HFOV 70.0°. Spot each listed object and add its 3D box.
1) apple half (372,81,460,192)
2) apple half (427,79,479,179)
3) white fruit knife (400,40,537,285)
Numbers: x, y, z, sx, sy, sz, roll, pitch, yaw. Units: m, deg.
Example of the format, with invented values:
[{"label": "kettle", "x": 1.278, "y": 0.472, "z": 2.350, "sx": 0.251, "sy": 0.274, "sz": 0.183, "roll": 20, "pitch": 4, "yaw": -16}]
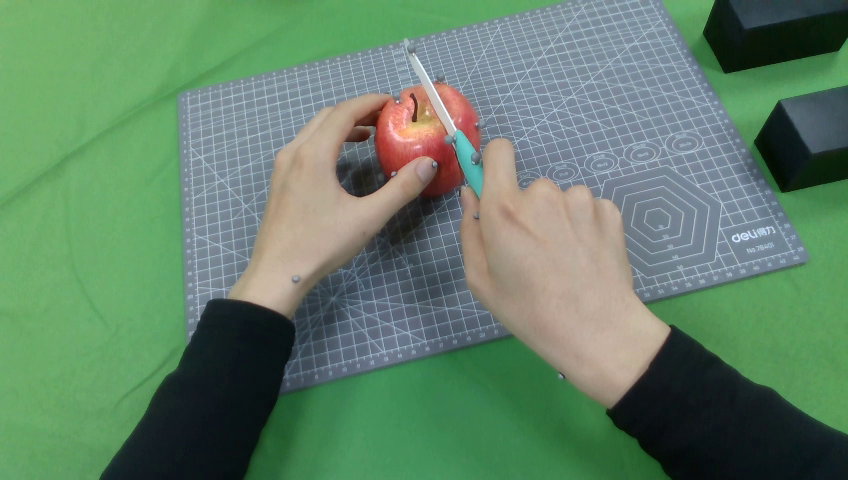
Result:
[{"label": "apple half", "x": -0.011, "y": -0.071, "z": 0.460, "sx": 0.053, "sy": 0.075, "sz": 0.080, "roll": -26, "pitch": 66, "yaw": -2}, {"label": "apple half", "x": 0.025, "y": -0.087, "z": 0.465, "sx": 0.033, "sy": 0.082, "sz": 0.080, "roll": -24, "pitch": 62, "yaw": -4}, {"label": "white fruit knife", "x": 0.023, "y": -0.063, "z": 0.409, "sx": 0.016, "sy": 0.027, "sz": 0.205, "roll": -22, "pitch": 66, "yaw": -11}]
